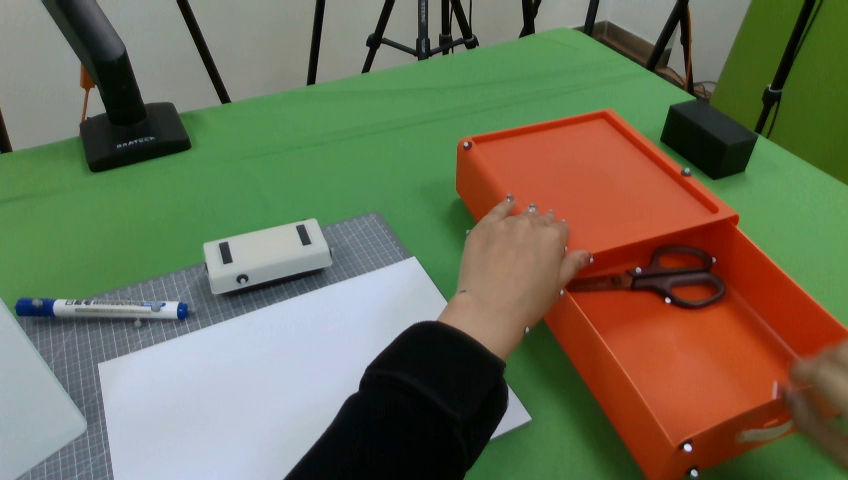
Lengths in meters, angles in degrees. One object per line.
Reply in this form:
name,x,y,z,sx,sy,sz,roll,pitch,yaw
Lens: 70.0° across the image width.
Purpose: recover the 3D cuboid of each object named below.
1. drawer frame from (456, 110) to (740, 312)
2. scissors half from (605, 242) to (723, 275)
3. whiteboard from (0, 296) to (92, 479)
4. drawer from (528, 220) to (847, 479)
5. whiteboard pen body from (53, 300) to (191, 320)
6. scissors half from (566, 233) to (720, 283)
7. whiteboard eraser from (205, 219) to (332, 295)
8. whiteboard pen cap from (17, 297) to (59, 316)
drawer frame,0.164,-0.037,0.626,0.202,0.083,0.211,-15,43,-16
scissors half,0.199,0.023,0.597,0.175,0.040,0.012,-6,38,15
whiteboard,-0.411,0.057,0.383,0.142,0.308,0.217,14,40,44
drawer,0.221,0.071,0.511,0.195,0.074,0.209,-14,43,-15
whiteboard pen body,-0.284,0.062,0.546,0.141,0.017,0.017,1,41,-4
scissors half,0.204,0.031,0.605,0.175,0.040,0.012,-19,40,27
whiteboard eraser,-0.150,0.018,0.586,0.113,0.042,0.055,-15,42,-17
whiteboard pen cap,-0.343,0.060,0.543,0.033,0.018,0.018,1,41,-6
